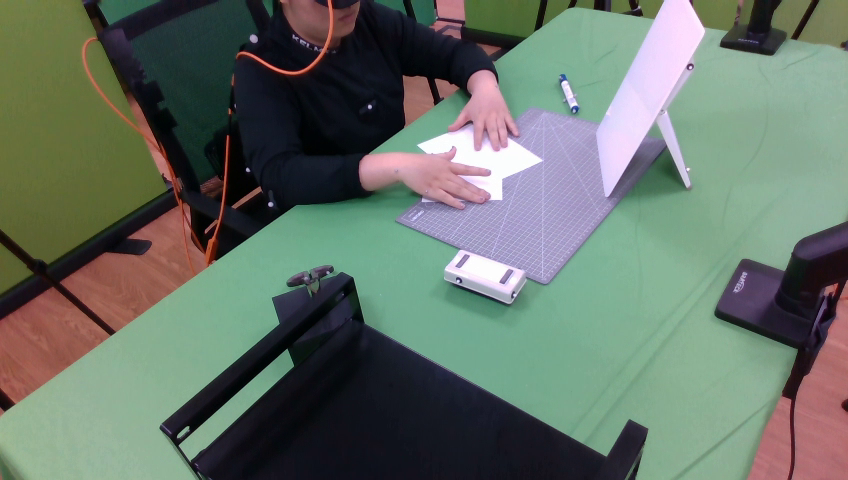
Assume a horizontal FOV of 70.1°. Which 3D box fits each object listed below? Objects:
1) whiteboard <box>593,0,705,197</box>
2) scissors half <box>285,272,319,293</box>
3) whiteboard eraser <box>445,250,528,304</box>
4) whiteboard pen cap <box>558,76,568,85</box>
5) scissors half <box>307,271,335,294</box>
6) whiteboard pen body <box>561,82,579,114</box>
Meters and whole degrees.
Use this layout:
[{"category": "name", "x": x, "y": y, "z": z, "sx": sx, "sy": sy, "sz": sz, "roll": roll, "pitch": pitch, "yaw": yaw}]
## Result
[{"category": "whiteboard", "x": 0.421, "y": -0.227, "z": 1.009, "sx": 0.144, "sy": 0.305, "sz": 0.216, "roll": 17, "pitch": 41, "yaw": -3}, {"category": "scissors half", "x": -0.171, "y": 0.064, "z": 0.868, "sx": 0.040, "sy": 0.013, "sz": 0.174, "roll": -12, "pitch": 8, "yaw": -21}, {"category": "whiteboard eraser", "x": 0.090, "y": 0.056, "z": 0.882, "sx": 0.112, "sy": 0.042, "sz": 0.056, "roll": 18, "pitch": 44, "yaw": 27}, {"category": "whiteboard pen cap", "x": 0.310, "y": -0.350, "z": 1.340, "sx": 0.018, "sy": 0.018, "sz": 0.033, "roll": -6, "pitch": 41, "yaw": 2}, {"category": "scissors half", "x": -0.152, "y": 0.061, "z": 0.872, "sx": 0.040, "sy": 0.013, "sz": 0.175, "roll": -5, "pitch": 6, "yaw": -4}, {"category": "whiteboard pen body", "x": 0.311, "y": -0.311, "z": 1.298, "sx": 0.017, "sy": 0.017, "sz": 0.140, "roll": -6, "pitch": 41, "yaw": 3}]
